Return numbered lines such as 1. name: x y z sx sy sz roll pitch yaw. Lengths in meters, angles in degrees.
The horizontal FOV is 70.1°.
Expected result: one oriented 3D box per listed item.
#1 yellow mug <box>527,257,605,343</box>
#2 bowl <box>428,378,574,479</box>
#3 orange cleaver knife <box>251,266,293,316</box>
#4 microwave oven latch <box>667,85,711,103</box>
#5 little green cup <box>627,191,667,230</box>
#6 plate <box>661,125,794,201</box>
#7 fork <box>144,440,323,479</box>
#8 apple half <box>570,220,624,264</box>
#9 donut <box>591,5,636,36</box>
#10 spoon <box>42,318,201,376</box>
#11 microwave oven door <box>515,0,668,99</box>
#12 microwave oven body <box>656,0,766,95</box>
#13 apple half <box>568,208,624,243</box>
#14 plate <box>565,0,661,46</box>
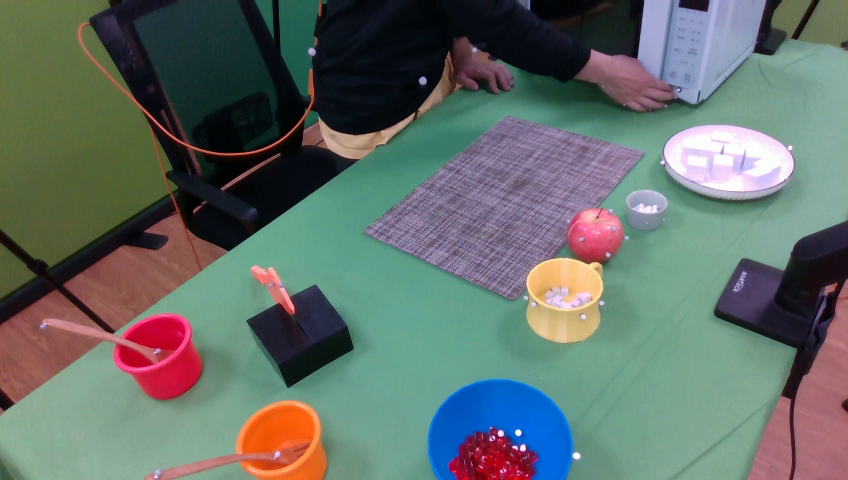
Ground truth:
1. yellow mug: 0.202 0.072 0.825 0.131 0.064 0.099 -32 46 -27
2. bowl: 0.082 0.232 0.645 0.151 0.077 0.150 -4 40 4
3. orange cleaver knife: -0.221 0.071 0.874 0.012 0.077 0.210 -25 11 -21
4. microwave oven latch: 0.526 -0.299 1.205 0.030 0.029 0.078 -26 43 -19
5. little green cup: 0.352 -0.046 0.963 0.061 0.039 0.061 -4 40 4
6. plate: 0.514 -0.128 1.035 0.207 0.039 0.206 -4 40 4
7. fork: -0.189 0.231 0.631 0.028 0.018 0.209 37 14 37
8. apple half: 0.252 0.010 0.884 0.081 0.081 0.032 3 37 13
9. donut: 0.427 -0.498 1.365 0.099 0.048 0.098 -4 40 4
10. spoon: -0.385 0.134 0.779 0.195 0.021 0.041 29 37 -27
11. microwave oven door: 0.338 -0.450 1.255 0.353 0.245 0.039 29 53 35
12. microwave oven body: 0.473 -0.513 1.317 0.438 0.261 0.327 26 51 34
13. apple half: 0.260 -0.014 0.914 0.080 0.075 0.053 0 36 15
14. plate: 0.427 -0.491 1.376 0.209 0.038 0.208 -5 41 5
